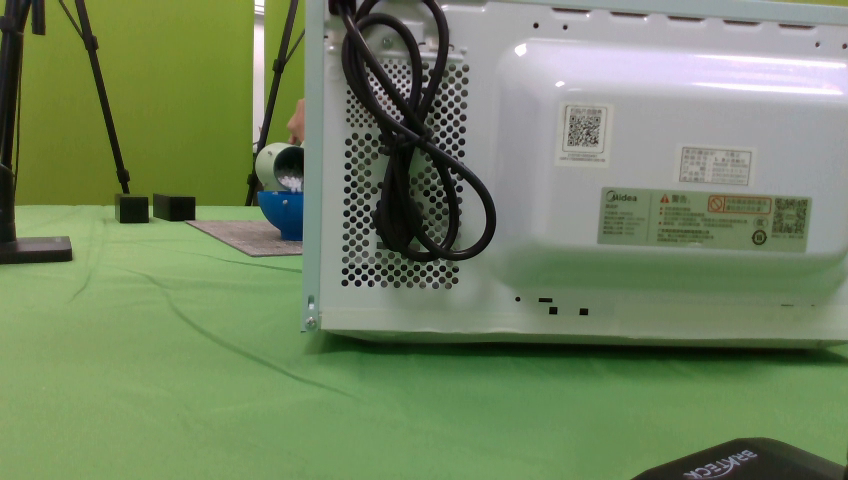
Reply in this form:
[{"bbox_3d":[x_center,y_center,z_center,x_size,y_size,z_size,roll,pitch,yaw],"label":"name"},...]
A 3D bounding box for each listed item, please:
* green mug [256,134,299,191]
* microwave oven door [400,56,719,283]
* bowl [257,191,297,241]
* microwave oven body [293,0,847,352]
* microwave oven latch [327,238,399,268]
[{"bbox_3d":[-0.245,-0.147,1.111,0.093,0.125,0.104,32,-10,-29],"label":"green mug"},{"bbox_3d":[0.155,-0.077,0.697,0.356,0.243,0.039,2,8,-5],"label":"microwave oven door"},{"bbox_3d":[-0.207,-0.041,1.027,0.151,0.077,0.151,2,7,0],"label":"bowl"},{"bbox_3d":[0.122,-0.055,0.550,0.442,0.260,0.325,3,7,-5],"label":"microwave oven body"},{"bbox_3d":[-0.069,0.015,0.694,0.079,0.029,0.030,3,7,-3],"label":"microwave oven latch"}]
